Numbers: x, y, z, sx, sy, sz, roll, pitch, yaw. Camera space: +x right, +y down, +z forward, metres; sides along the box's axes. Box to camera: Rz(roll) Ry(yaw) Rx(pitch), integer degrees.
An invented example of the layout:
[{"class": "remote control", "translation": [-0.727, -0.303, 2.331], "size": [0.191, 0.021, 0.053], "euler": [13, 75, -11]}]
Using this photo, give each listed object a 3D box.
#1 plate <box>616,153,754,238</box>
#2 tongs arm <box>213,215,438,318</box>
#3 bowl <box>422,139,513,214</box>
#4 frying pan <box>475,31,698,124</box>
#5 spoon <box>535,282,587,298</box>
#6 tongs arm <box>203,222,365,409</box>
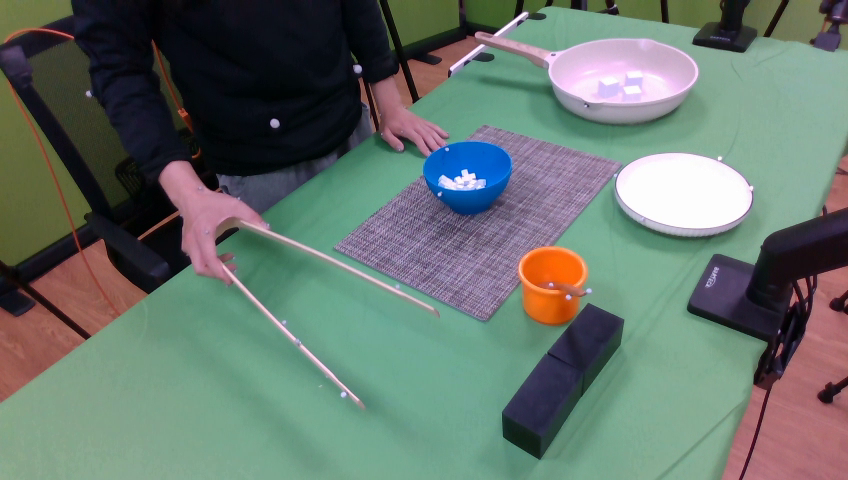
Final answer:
[{"class": "plate", "translation": [0.416, -0.069, 0.977], "size": [0.207, 0.039, 0.206], "euler": [-4, 40, 4]}, {"class": "tongs arm", "translation": [-0.143, 0.029, 0.805], "size": [0.384, 0.028, 0.028], "euler": [21, 71, 29]}, {"class": "bowl", "translation": [0.075, -0.097, 1.021], "size": [0.151, 0.077, 0.150], "euler": [-4, 41, 4]}, {"class": "frying pan", "translation": [0.320, -0.371, 1.290], "size": [0.485, 0.103, 0.307], "euler": [28, 50, 23]}, {"class": "spoon", "translation": [0.176, 0.063, 0.774], "size": [0.041, 0.194, 0.021], "euler": [-3, 85, 1]}, {"class": "tongs arm", "translation": [-0.188, 0.082, 0.783], "size": [0.381, 0.027, 0.051], "euler": [33, 74, 34]}]
